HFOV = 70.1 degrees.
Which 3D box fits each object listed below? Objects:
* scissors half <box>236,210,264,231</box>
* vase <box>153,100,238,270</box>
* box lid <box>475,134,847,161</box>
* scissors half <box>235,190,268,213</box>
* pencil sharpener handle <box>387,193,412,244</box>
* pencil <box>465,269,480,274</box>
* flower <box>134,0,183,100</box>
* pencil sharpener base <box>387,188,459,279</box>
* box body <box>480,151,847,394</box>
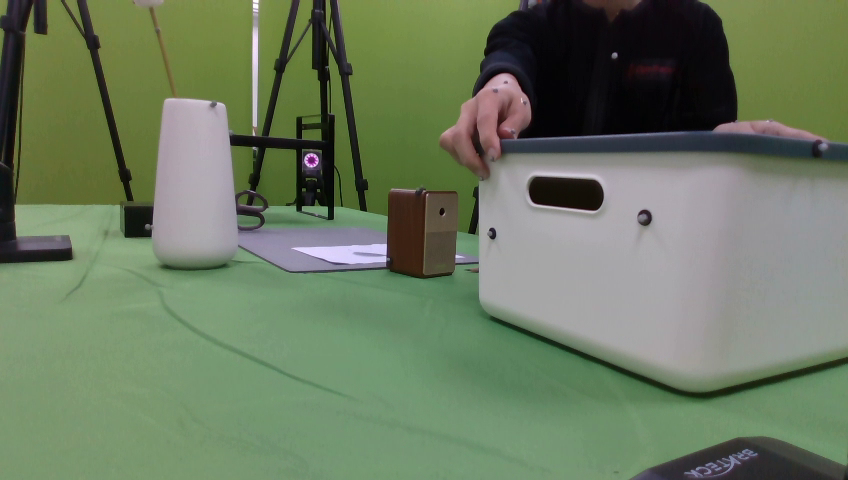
[{"bbox_3d":[-0.369,-0.051,1.065,0.176,0.040,0.012,19,13,-27],"label":"scissors half"},{"bbox_3d":[-0.278,-0.066,0.736,0.098,0.200,0.098,2,9,0],"label":"vase"},{"bbox_3d":[0.255,-0.073,0.528,0.373,0.015,0.262,-2,8,-31],"label":"box lid"},{"bbox_3d":[-0.363,-0.070,1.060,0.176,0.040,0.013,0,16,-23],"label":"scissors half"},{"bbox_3d":[-0.038,-0.029,0.797,0.036,0.068,0.030,-13,16,-42],"label":"pencil sharpener handle"},{"bbox_3d":[0.149,0.041,0.804,0.194,0.012,0.012,0,8,-11],"label":"pencil"},{"bbox_3d":[-0.282,-0.147,0.713,0.038,0.362,0.044,-23,24,-31],"label":"flower"},{"bbox_3d":[-0.004,-0.011,0.761,0.062,0.107,0.076,-5,10,-44],"label":"pencil sharpener base"},{"bbox_3d":[0.254,0.002,0.539,0.366,0.160,0.253,-2,9,-31],"label":"box body"}]
